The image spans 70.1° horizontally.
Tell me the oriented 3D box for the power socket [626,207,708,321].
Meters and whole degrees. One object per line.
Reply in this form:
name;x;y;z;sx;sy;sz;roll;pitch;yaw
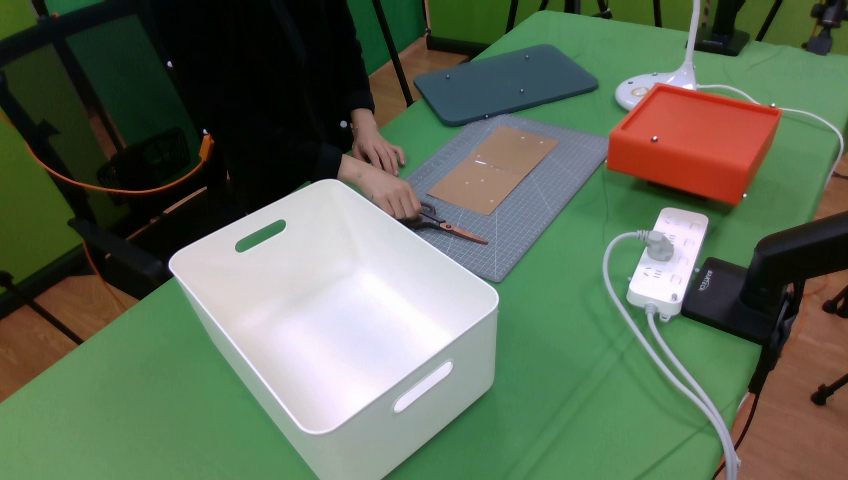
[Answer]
power socket;0.360;0.026;0.886;0.072;0.033;0.227;16;46;26

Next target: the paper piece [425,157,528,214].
paper piece;0.095;-0.103;1.089;0.134;0.004;0.136;22;48;30

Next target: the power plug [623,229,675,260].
power plug;0.327;0.007;0.878;0.072;0.053;0.035;25;51;33

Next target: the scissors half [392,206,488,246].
scissors half;0.025;-0.019;0.996;0.174;0.013;0.040;19;40;16

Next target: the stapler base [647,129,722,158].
stapler base;0.439;-0.167;1.023;0.131;0.024;0.041;-16;25;-15

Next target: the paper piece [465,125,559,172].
paper piece;0.171;-0.177;1.168;0.137;0.009;0.136;21;44;31

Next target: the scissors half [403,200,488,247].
scissors half;0.036;-0.028;1.010;0.174;0.013;0.040;32;40;29

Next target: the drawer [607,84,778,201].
drawer;0.438;-0.167;0.996;0.210;0.073;0.195;23;48;30

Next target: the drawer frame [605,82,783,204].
drawer frame;0.441;-0.167;0.995;0.212;0.083;0.202;23;48;29

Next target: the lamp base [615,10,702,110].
lamp base;0.484;-0.364;1.211;0.180;0.181;0.159;-15;41;-14

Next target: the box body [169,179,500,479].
box body;-0.110;0.103;0.761;0.255;0.161;0.361;-33;46;-27

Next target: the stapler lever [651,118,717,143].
stapler lever;0.436;-0.192;1.014;0.118;0.040;0.026;-15;25;-16

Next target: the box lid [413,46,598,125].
box lid;0.177;-0.360;1.382;0.373;0.015;0.261;-16;40;-11
